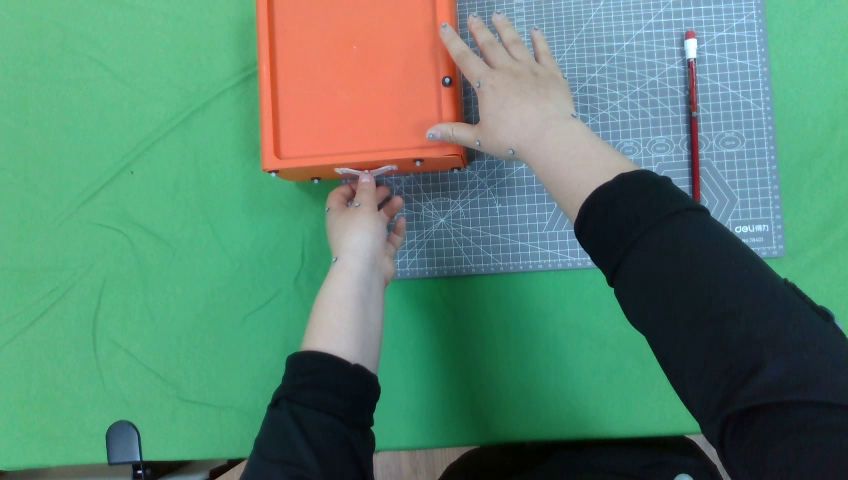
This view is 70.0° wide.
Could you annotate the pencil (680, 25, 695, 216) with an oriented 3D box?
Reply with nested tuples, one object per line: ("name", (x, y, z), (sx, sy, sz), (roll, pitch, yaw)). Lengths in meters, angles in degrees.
("pencil", (0.269, -0.121, 0.615), (0.012, 0.012, 0.194), (-2, 89, 7))

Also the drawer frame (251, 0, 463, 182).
("drawer frame", (-0.068, -0.174, 0.621), (0.201, 0.083, 0.213), (-5, 86, 8))

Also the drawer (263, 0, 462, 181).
("drawer", (-0.066, -0.172, 0.622), (0.194, 0.073, 0.211), (-4, 86, 8))
